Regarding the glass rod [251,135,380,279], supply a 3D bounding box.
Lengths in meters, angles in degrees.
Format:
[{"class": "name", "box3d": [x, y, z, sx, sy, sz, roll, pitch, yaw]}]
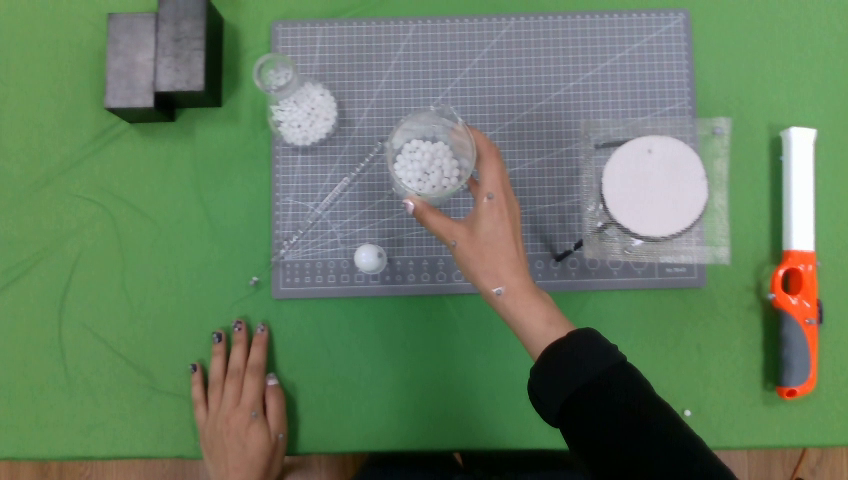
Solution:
[{"class": "glass rod", "box3d": [-0.113, -0.035, 0.634, 0.008, 0.008, 0.199, 41, 87, 4]}]

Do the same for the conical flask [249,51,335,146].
[{"class": "conical flask", "box3d": [-0.132, -0.141, 0.586, 0.075, 0.122, 0.075, 0, 84, 1]}]

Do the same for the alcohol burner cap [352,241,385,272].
[{"class": "alcohol burner cap", "box3d": [-0.058, 0.015, 0.613, 0.034, 0.048, 0.034, 0, 85, 1]}]

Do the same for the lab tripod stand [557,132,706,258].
[{"class": "lab tripod stand", "box3d": [0.191, -0.037, 0.569, 0.148, 0.131, 0.148, 0, 87, 1]}]

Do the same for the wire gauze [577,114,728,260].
[{"class": "wire gauze", "box3d": [0.190, -0.045, 0.502, 0.125, 0.011, 0.121, 1, 87, 1]}]

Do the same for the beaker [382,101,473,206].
[{"class": "beaker", "box3d": [0.002, -0.073, 0.542, 0.074, 0.100, 0.084, 20, 86, -2]}]

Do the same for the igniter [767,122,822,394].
[{"class": "igniter", "box3d": [0.378, 0.017, 0.619, 0.057, 0.025, 0.276, 3, 85, -10]}]

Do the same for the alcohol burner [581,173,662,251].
[{"class": "alcohol burner", "box3d": [0.192, -0.029, 0.578, 0.078, 0.119, 0.077, 0, 85, 3]}]
